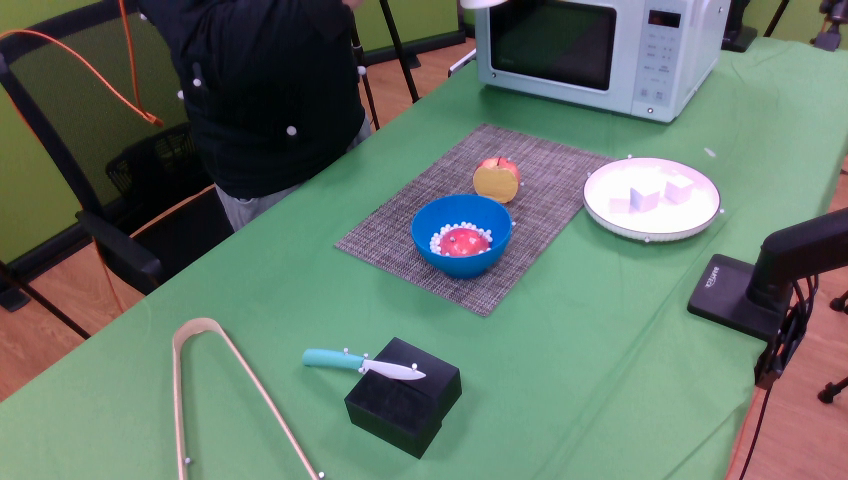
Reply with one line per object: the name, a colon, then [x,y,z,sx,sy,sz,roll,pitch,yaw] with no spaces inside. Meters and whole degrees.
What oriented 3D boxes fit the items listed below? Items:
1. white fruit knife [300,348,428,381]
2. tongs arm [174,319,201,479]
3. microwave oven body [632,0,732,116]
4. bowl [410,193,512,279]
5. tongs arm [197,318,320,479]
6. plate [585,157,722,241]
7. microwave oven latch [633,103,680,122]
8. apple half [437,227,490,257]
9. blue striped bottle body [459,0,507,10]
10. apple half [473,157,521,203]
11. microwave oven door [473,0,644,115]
white fruit knife: [-0.080,0.154,0.748,0.206,0.027,0.016,1,20,34]
tongs arm: [-0.272,0.234,0.723,0.051,0.026,0.381,-18,40,-15]
microwave oven body: [0.377,-0.462,1.267,0.438,0.261,0.327,21,48,30]
bowl: [0.058,0.005,0.905,0.151,0.077,0.150,-4,40,4]
tongs arm: [-0.199,0.207,0.751,0.028,0.028,0.384,-31,45,-22]
plate: [0.367,-0.063,0.979,0.207,0.039,0.206,-4,40,4]
microwave oven latch: [0.443,-0.249,1.157,0.078,0.029,0.030,19,48,29]
apple half: [0.056,0.002,0.902,0.081,0.033,0.081,-3,42,3]
blue striped bottle body: [0.066,-0.352,0.741,0.063,0.121,0.063,-8,32,6]
apple half: [0.128,-0.107,1.030,0.080,0.075,0.053,4,38,19]
microwave oven door: [0.257,-0.396,1.199,0.353,0.245,0.039,21,48,29]
